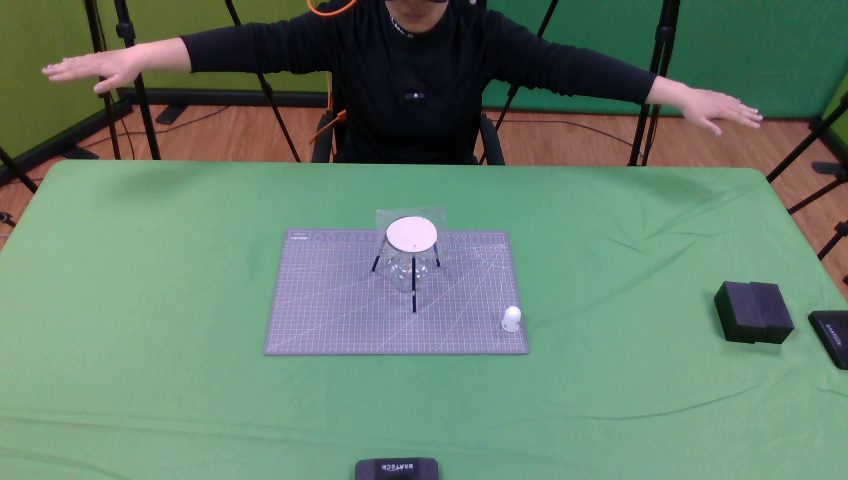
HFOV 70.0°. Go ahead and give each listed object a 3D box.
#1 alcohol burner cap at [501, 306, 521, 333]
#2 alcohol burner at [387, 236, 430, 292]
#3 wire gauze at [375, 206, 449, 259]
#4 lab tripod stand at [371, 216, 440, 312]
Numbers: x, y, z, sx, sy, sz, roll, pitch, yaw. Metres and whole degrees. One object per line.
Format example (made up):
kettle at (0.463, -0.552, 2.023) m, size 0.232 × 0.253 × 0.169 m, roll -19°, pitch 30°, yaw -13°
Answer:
alcohol burner cap at (0.155, 0.137, 1.061) m, size 0.034 × 0.048 × 0.033 m, roll 2°, pitch 45°, yaw -1°
alcohol burner at (-0.028, 0.038, 1.093) m, size 0.078 × 0.120 × 0.077 m, roll 1°, pitch 46°, yaw -1°
wire gauze at (-0.023, -0.014, 1.035) m, size 0.125 × 0.011 × 0.120 m, roll -1°, pitch 46°, yaw -3°
lab tripod stand at (-0.029, 0.033, 1.084) m, size 0.148 × 0.132 × 0.147 m, roll 1°, pitch 47°, yaw -1°
